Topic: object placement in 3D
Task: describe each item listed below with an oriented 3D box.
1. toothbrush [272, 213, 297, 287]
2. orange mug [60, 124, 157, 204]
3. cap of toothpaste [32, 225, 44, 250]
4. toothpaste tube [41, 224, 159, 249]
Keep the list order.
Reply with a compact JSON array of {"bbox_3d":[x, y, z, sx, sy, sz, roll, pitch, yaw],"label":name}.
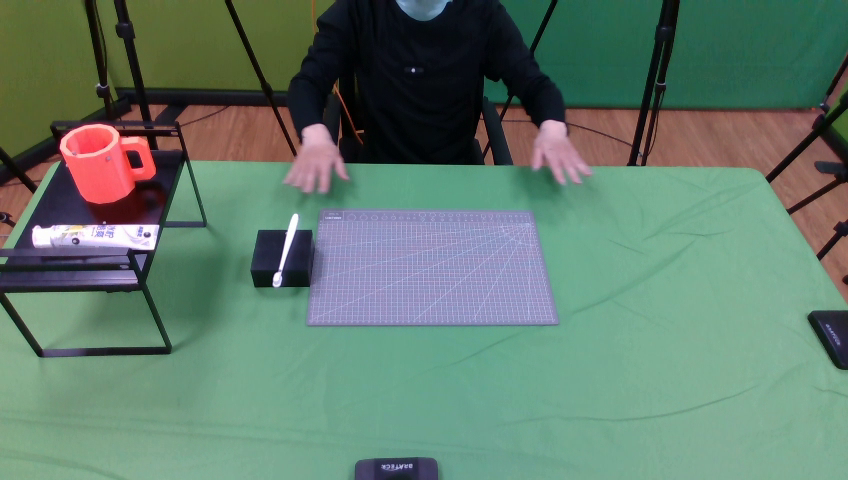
[{"bbox_3d":[-0.252,0.012,1.104,0.014,0.017,0.180,1,46,2],"label":"toothbrush"},{"bbox_3d":[-0.505,-0.127,0.980,0.126,0.101,0.083,-13,48,-10],"label":"orange mug"},{"bbox_3d":[-0.569,-0.004,0.898,0.011,0.037,0.037,-2,46,-11],"label":"cap of toothpaste"},{"bbox_3d":[-0.491,-0.004,0.913,0.165,0.035,0.054,-2,50,-12],"label":"toothpaste tube"}]
